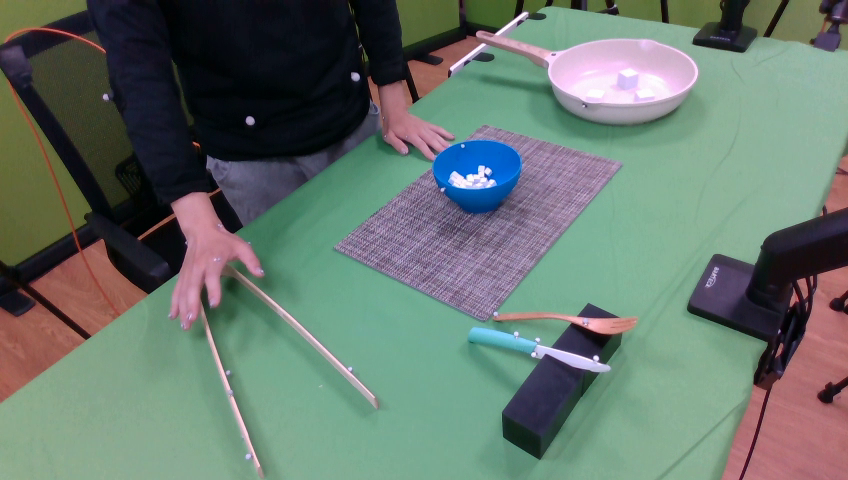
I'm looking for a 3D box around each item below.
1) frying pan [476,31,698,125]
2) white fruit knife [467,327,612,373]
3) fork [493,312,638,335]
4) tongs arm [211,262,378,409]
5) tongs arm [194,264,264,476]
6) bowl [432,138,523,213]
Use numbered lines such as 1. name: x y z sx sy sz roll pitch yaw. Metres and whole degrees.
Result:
1. frying pan: 0.321 -0.371 1.290 0.484 0.103 0.307 29 51 23
2. white fruit knife: 0.134 0.134 0.742 0.205 0.027 0.016 7 34 41
3. fork: 0.173 0.103 0.774 0.206 0.019 0.028 0 41 40
4. tongs arm: -0.192 0.121 0.850 0.028 0.028 0.384 -37 48 -27
5. tongs arm: -0.259 0.153 0.816 0.051 0.026 0.381 -24 42 -20
6. bowl: 0.091 -0.099 1.021 0.151 0.077 0.150 -4 41 4
